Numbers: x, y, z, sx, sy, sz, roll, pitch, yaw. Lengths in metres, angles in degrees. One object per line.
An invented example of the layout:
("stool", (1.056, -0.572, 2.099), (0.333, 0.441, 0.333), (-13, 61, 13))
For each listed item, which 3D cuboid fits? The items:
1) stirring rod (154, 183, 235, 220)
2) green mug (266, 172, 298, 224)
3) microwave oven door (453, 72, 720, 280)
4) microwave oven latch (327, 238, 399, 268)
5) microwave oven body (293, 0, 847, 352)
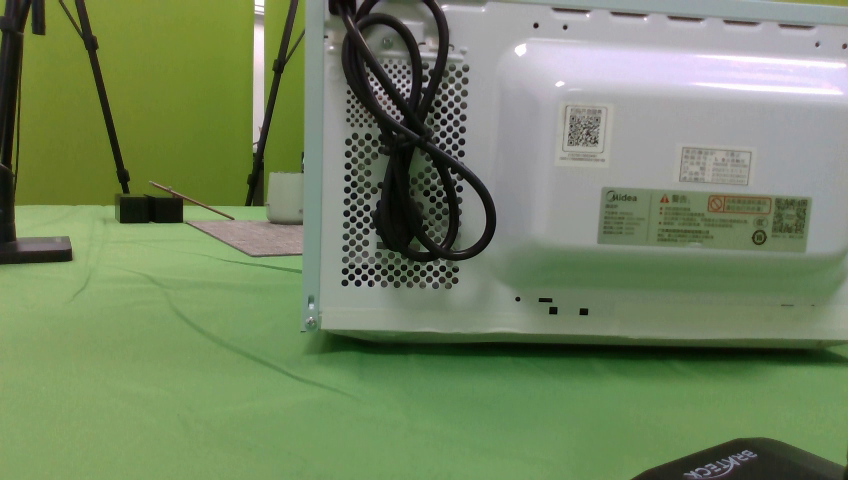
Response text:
("stirring rod", (-0.472, -0.079, 1.252), (0.177, 0.006, 0.014), (27, 3, -35))
("green mug", (-0.272, -0.089, 1.271), (0.092, 0.105, 0.126), (7, 8, 33))
("microwave oven door", (0.196, -0.091, 0.815), (0.354, 0.243, 0.039), (8, 8, 39))
("microwave oven latch", (-0.069, 0.015, 0.694), (0.079, 0.029, 0.030), (3, 7, -3))
("microwave oven body", (0.122, -0.055, 0.550), (0.442, 0.260, 0.325), (3, 7, -5))
